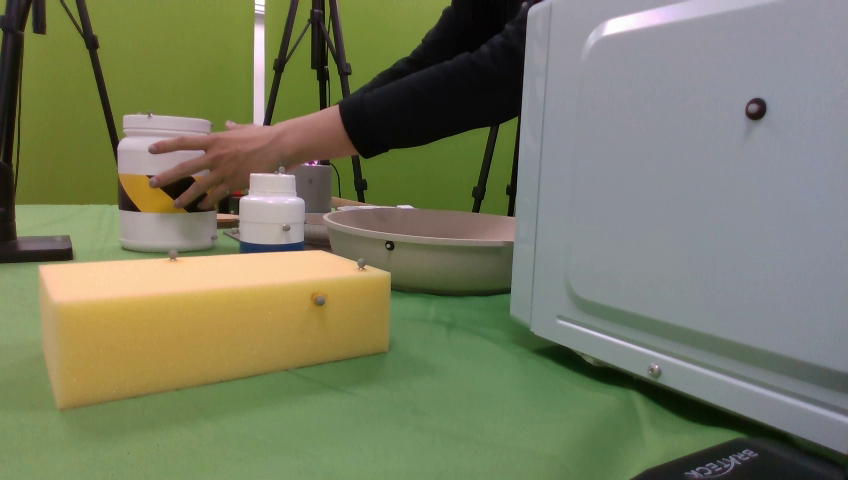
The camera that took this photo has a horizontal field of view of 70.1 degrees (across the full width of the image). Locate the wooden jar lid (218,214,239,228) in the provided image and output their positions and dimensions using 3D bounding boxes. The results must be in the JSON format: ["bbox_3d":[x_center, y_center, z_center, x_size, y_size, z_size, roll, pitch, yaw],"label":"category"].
[{"bbox_3d":[-0.404,-0.037,1.169,0.108,0.020,0.108,3,7,0],"label":"wooden jar lid"}]

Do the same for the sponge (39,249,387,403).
[{"bbox_3d":[-0.142,0.047,0.419,0.208,0.061,0.117,-3,8,-36],"label":"sponge"}]

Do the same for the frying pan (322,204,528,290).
[{"bbox_3d":[0.110,-0.018,0.799,0.490,0.102,0.305,-12,16,-30],"label":"frying pan"}]

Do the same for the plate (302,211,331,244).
[{"bbox_3d":[-0.139,-0.022,1.021,0.209,0.038,0.209,2,8,0],"label":"plate"}]

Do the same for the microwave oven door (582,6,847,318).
[{"bbox_3d":[0.295,-0.067,0.569,0.358,0.243,0.039,-3,8,-31],"label":"microwave oven door"}]

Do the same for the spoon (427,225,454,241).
[{"bbox_3d":[0.024,-0.019,1.124,0.042,0.021,0.193,-17,10,-4],"label":"spoon"}]

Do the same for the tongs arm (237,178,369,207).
[{"bbox_3d":[-0.242,-0.095,1.374,0.387,0.026,0.050,9,1,-37],"label":"tongs arm"}]

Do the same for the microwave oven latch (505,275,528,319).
[{"bbox_3d":[0.100,0.041,0.471,0.079,0.029,0.030,-1,7,-28],"label":"microwave oven latch"}]

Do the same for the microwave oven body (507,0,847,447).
[{"bbox_3d":[0.331,-0.042,0.425,0.444,0.260,0.324,-2,8,-31],"label":"microwave oven body"}]

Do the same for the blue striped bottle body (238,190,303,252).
[{"bbox_3d":[-0.153,-0.007,0.606,0.063,0.120,0.063,2,7,0],"label":"blue striped bottle body"}]

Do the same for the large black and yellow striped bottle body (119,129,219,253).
[{"bbox_3d":[-0.367,-0.080,0.876,0.131,0.184,0.130,2,7,0],"label":"large black and yellow striped bottle body"}]

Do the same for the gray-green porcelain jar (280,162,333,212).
[{"bbox_3d":[-0.238,-0.092,1.221,0.106,0.126,0.106,2,7,0],"label":"gray-green porcelain jar"}]

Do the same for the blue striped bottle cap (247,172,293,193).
[{"bbox_3d":[-0.152,-0.057,0.598,0.044,0.020,0.044,4,7,0],"label":"blue striped bottle cap"}]

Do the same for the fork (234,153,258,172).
[{"bbox_3d":[-0.396,-0.143,1.486,0.028,0.018,0.208,19,-26,44],"label":"fork"}]

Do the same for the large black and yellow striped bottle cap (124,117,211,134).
[{"bbox_3d":[-0.366,-0.163,0.866,0.115,0.019,0.115,3,7,0],"label":"large black and yellow striped bottle cap"}]

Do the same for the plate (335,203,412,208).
[{"bbox_3d":[-0.089,-0.053,1.309,0.208,0.039,0.207,2,8,0],"label":"plate"}]

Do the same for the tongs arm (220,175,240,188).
[{"bbox_3d":[-0.285,-0.106,1.445,0.389,0.027,0.028,10,-3,-23],"label":"tongs arm"}]
